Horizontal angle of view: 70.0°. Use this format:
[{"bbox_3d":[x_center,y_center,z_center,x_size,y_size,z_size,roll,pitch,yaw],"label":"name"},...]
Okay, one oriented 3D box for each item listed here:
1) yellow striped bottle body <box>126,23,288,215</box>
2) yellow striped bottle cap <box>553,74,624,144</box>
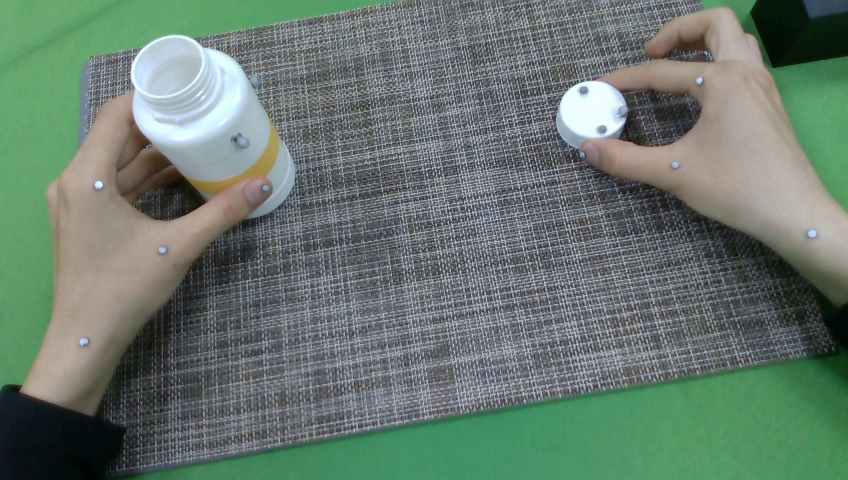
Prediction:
[{"bbox_3d":[-0.125,-0.068,0.353,0.063,0.121,0.062,-1,65,3],"label":"yellow striped bottle body"},{"bbox_3d":[0.108,-0.087,0.400,0.044,0.019,0.044,0,69,1],"label":"yellow striped bottle cap"}]
